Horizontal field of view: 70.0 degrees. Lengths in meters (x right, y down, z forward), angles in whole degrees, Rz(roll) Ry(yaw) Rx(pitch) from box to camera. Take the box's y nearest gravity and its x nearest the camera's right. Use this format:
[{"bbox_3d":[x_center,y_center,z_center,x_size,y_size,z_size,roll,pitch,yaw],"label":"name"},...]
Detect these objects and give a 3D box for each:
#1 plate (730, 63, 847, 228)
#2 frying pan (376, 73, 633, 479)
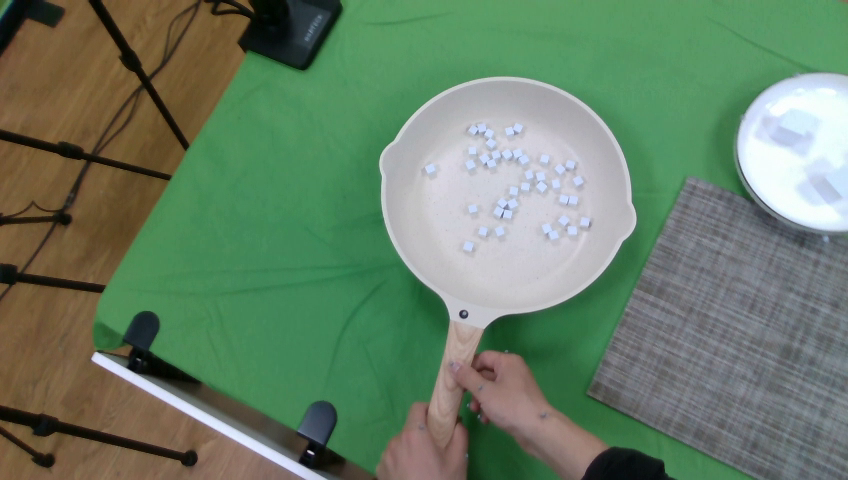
[{"bbox_3d":[0.474,-0.111,0.727,0.207,0.039,0.206,-2,75,7],"label":"plate"},{"bbox_3d":[0.061,0.036,0.696,0.306,0.103,0.485,16,69,6],"label":"frying pan"}]
